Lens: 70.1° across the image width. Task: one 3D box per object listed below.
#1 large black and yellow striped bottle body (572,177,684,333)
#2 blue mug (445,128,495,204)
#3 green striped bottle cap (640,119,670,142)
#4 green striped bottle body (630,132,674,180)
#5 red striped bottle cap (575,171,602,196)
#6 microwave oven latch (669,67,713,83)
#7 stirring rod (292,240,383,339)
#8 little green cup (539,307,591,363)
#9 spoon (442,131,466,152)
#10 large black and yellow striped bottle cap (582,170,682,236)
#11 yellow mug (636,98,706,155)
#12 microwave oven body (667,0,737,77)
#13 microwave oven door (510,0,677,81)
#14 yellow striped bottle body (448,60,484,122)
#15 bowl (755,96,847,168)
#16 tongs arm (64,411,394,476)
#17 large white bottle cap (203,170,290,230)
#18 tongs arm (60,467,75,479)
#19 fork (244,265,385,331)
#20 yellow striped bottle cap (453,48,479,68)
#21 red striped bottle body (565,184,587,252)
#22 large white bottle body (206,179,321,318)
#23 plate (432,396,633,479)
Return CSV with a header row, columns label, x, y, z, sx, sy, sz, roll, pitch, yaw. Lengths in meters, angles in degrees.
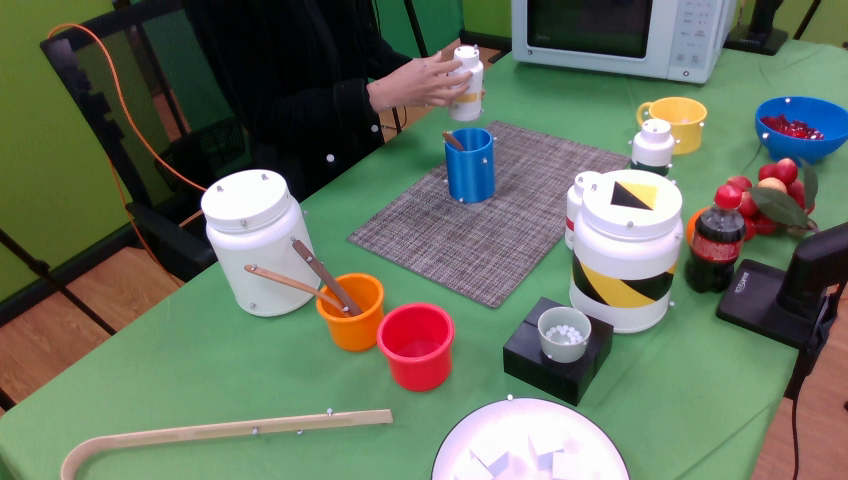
label,x,y,z,sx,sy,sz,roll,pitch,yaw
large black and yellow striped bottle body,0.262,0.017,0.788,0.131,0.185,0.130,-5,40,4
blue mug,0.081,-0.139,1.058,0.082,0.106,0.116,-4,40,4
green striped bottle cap,0.371,-0.175,0.968,0.044,0.020,0.044,-4,41,4
green striped bottle body,0.376,-0.135,1.001,0.063,0.120,0.063,-5,41,5
red striped bottle cap,0.242,-0.081,0.876,0.044,0.018,0.044,-5,44,5
microwave oven latch,0.556,-0.349,1.261,0.078,0.029,0.030,16,46,27
stirring rod,-0.118,0.068,0.826,0.176,0.006,0.014,49,59,-4
little green cup,0.167,0.114,0.721,0.061,0.039,0.061,-4,43,4
spoon,0.062,-0.144,1.000,0.041,0.195,0.021,11,79,23
large black and yellow striped bottle cap,0.252,-0.048,0.735,0.115,0.019,0.114,-3,40,3
yellow mug,0.453,-0.217,1.128,0.100,0.064,0.129,-34,46,-27
microwave oven body,0.462,-0.552,1.369,0.439,0.261,0.326,15,45,26
microwave oven door,0.354,-0.478,1.290,0.353,0.245,0.039,15,45,25
yellow striped bottle body,0.075,-0.279,1.087,0.063,0.120,0.062,0,43,1
bowl,0.645,-0.177,1.041,0.151,0.077,0.150,-5,40,4
tongs arm,-0.228,0.241,0.715,0.385,0.026,0.050,-5,43,4
large white bottle cap,-0.241,-0.057,0.822,0.115,0.018,0.114,-4,41,4
tongs arm,-0.239,0.301,0.648,0.386,0.028,0.028,6,49,16
fork,-0.142,0.078,0.806,0.209,0.018,0.028,30,33,-23
yellow striped bottle cap,0.073,-0.317,1.051,0.044,0.019,0.044,1,42,0
red striped bottle body,0.247,-0.041,0.910,0.063,0.120,0.062,-3,39,3
large white bottle body,-0.233,0.007,0.876,0.130,0.185,0.130,-5,40,4
plate,0.112,0.261,0.634,0.209,0.038,0.208,-5,40,4
